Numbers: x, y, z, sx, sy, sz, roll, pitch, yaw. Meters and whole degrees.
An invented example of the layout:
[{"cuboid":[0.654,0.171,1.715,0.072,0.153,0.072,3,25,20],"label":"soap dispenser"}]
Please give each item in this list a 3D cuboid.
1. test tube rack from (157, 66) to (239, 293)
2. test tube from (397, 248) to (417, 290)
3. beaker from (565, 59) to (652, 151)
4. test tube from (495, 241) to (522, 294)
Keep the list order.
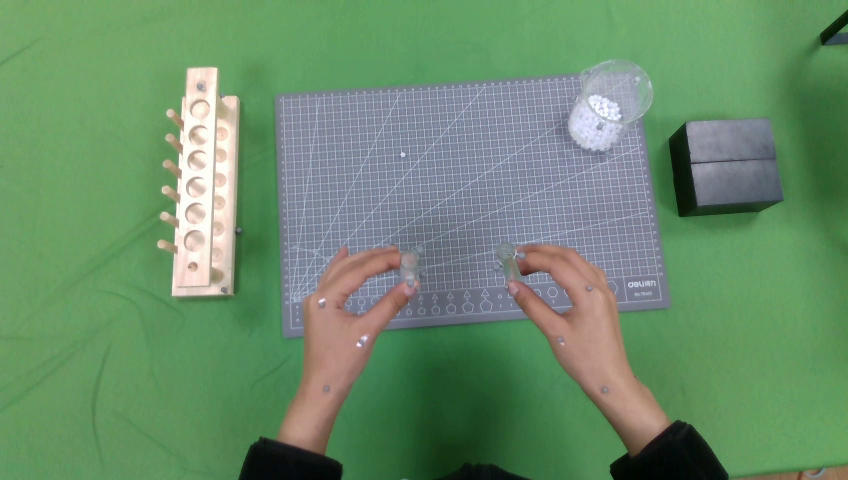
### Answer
[{"cuboid":[-0.258,-0.065,0.685,0.067,0.085,0.241,-1,79,-1],"label":"test tube rack"},{"cuboid":[-0.014,0.028,0.530,0.017,0.151,0.017,0,78,-1],"label":"test tube"},{"cuboid":[0.205,-0.152,0.699,0.084,0.100,0.074,32,80,7],"label":"beaker"},{"cuboid":[0.076,0.027,0.537,0.017,0.151,0.017,-3,74,11],"label":"test tube"}]
